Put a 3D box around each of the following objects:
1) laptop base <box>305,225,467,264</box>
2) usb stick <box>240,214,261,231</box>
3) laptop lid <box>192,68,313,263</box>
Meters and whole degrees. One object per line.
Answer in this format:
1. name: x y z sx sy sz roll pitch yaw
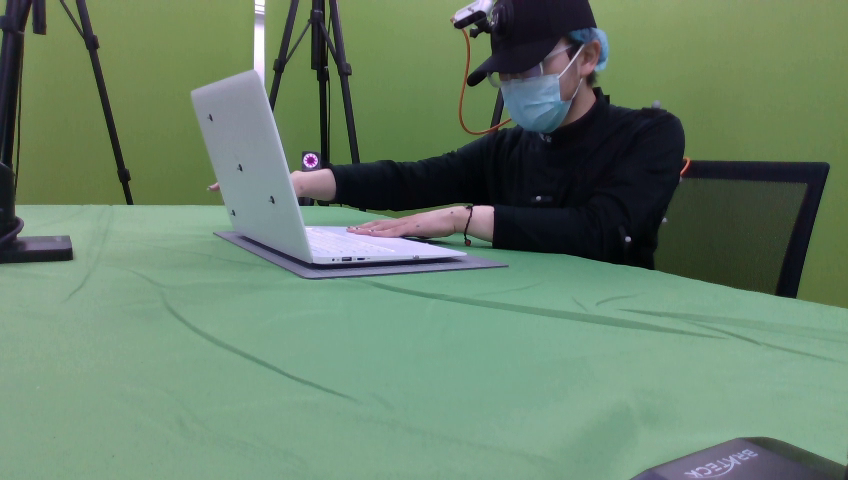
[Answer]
1. laptop base: -0.127 0.005 0.936 0.237 0.023 0.352 3 6 -33
2. usb stick: -0.301 -0.030 1.055 0.021 0.027 0.059 -8 14 -37
3. laptop lid: -0.251 -0.102 0.840 0.013 0.242 0.355 -22 20 -28
